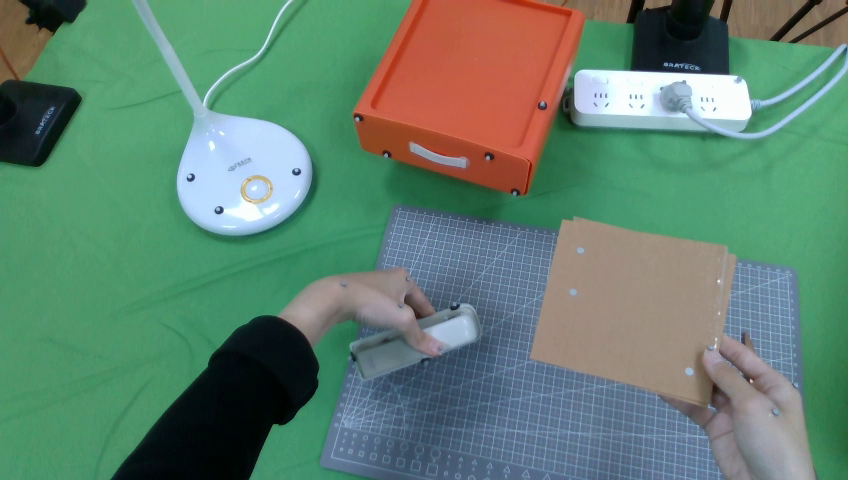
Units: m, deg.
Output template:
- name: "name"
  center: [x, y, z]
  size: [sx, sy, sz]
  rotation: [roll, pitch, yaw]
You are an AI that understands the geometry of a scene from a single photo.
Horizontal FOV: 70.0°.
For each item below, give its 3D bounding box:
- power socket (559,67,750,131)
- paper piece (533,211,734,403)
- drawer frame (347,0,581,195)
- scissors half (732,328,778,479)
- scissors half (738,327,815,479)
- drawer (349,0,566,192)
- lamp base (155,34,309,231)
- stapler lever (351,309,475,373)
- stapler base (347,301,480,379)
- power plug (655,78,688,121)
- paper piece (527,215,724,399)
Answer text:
- name: "power socket"
  center: [0.284, -0.175, 0.748]
  size: [0.226, 0.033, 0.071]
  rotation: [4, 64, 5]
- name: "paper piece"
  center: [0.174, 0.049, 0.499]
  size: [0.135, 0.004, 0.135]
  rotation: [17, 67, 18]
- name: "drawer frame"
  center: [0.049, -0.182, 0.690]
  size: [0.201, 0.083, 0.212]
  rotation: [17, 66, 12]
- name: "scissors half"
  center: [0.313, 0.164, 0.582]
  size: [0.040, 0.013, 0.174]
  rotation: [13, 60, -2]
- name: "scissors half"
  center: [0.333, 0.165, 0.584]
  size: [0.040, 0.013, 0.173]
  rotation: [-4, 62, -6]
- name: "drawer"
  center: [0.048, -0.178, 0.685]
  size: [0.194, 0.074, 0.210]
  rotation: [17, 65, 12]
- name: "lamp base"
  center: [-0.232, -0.125, 0.665]
  size: [0.160, 0.182, 0.177]
  rotation: [-41, 65, -17]
- name: "stapler lever"
  center: [-0.010, 0.094, 0.565]
  size: [0.118, 0.040, 0.026]
  rotation: [-19, 82, -4]
- name: "stapler base"
  center: [-0.009, 0.096, 0.589]
  size: [0.130, 0.024, 0.041]
  rotation: [-19, 83, -3]
- name: "power plug"
  center: [0.289, -0.159, 0.714]
  size: [0.035, 0.053, 0.072]
  rotation: [14, 65, 10]
- name: "paper piece"
  center: [0.164, 0.047, 0.490]
  size: [0.135, 0.009, 0.137]
  rotation: [11, 64, 18]
